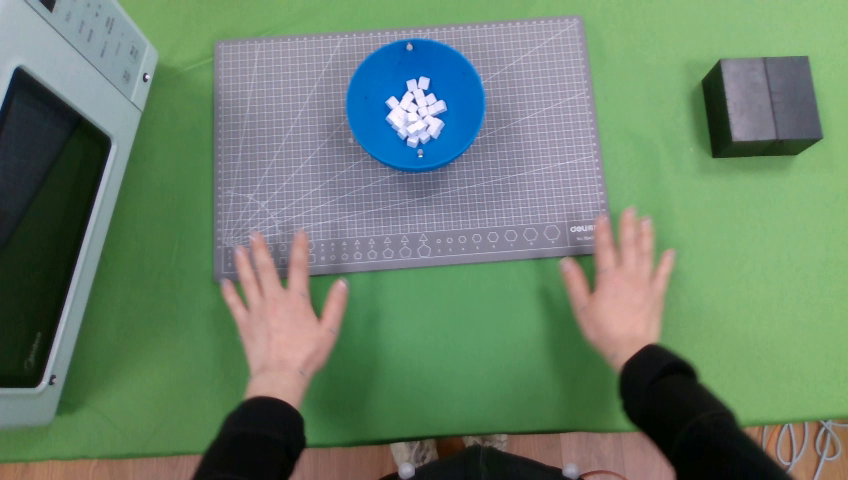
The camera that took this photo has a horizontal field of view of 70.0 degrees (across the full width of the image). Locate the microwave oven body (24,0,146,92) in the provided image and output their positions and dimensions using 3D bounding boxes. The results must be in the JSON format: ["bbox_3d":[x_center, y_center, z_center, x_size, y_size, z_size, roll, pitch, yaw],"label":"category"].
[{"bbox_3d":[-0.510,-0.076,0.571,0.326,0.261,0.440,9,78,2],"label":"microwave oven body"}]

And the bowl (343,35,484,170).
[{"bbox_3d":[-0.011,-0.141,0.678,0.151,0.077,0.150,0,78,0],"label":"bowl"}]

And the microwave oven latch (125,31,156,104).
[{"bbox_3d":[-0.333,-0.200,0.696,0.030,0.029,0.079,11,78,2],"label":"microwave oven latch"}]

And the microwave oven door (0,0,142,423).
[{"bbox_3d":[-0.374,-0.012,0.551,0.039,0.245,0.354,9,77,3],"label":"microwave oven door"}]
